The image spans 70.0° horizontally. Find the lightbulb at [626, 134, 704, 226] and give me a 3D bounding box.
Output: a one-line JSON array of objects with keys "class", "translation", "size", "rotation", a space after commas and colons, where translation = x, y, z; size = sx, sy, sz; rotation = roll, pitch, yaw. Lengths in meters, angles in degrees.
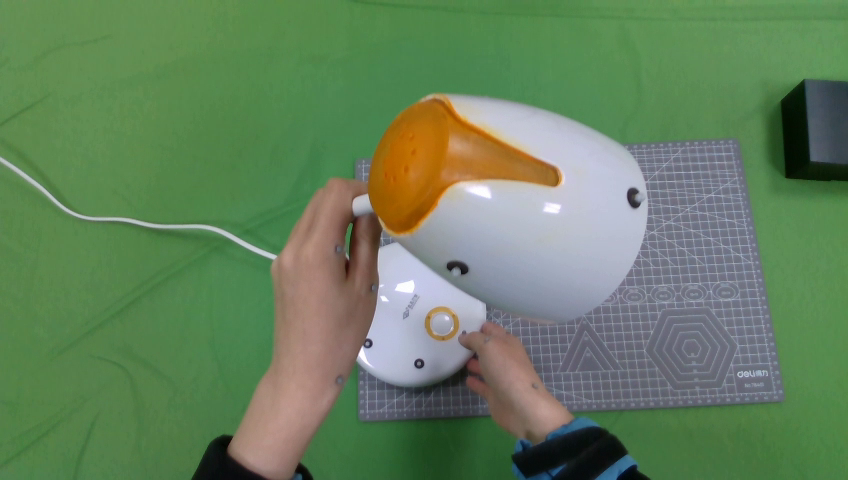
[{"class": "lightbulb", "translation": [0.240, -0.064, 0.617], "size": [0.059, 0.060, 0.107], "rotation": [-24, 67, -2]}]

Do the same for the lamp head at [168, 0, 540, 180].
[{"class": "lamp head", "translation": [-0.036, -0.089, 0.242], "size": [0.124, 0.112, 0.112], "rotation": [9, 81, -36]}]

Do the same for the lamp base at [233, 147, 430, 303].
[{"class": "lamp base", "translation": [-0.085, -0.031, 0.527], "size": [0.179, 0.181, 0.160], "rotation": [6, 81, 2]}]
